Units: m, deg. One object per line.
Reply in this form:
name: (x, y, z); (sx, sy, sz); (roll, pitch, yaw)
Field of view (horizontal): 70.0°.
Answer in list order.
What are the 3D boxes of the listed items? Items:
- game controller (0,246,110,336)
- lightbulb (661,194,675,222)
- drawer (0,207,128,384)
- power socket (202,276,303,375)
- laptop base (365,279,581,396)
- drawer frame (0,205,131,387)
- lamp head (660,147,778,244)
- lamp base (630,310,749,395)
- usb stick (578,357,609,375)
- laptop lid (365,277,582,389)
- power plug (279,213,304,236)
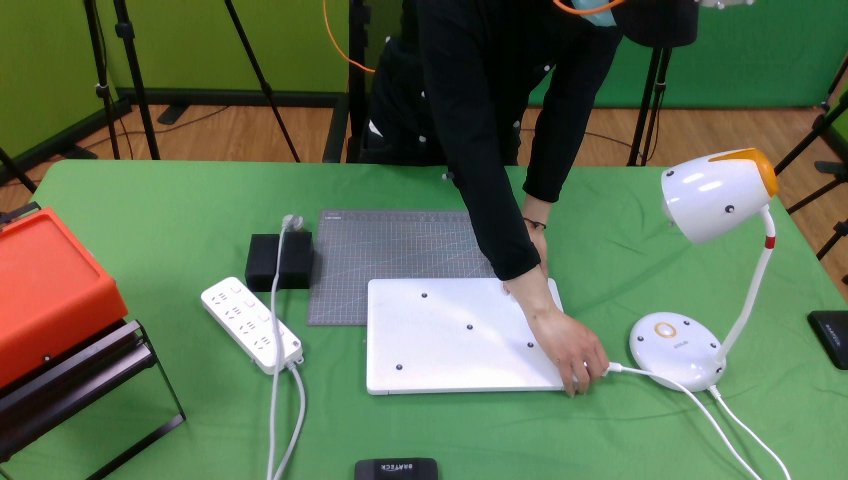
game controller: (-0.511, 0.063, 0.830); (0.097, 0.052, 0.154); (-30, 58, -32)
lightbulb: (0.369, -0.059, 0.807); (0.060, 0.107, 0.059); (18, 60, -35)
drawer: (-0.539, 0.074, 0.798); (0.193, 0.073, 0.211); (37, 55, 27)
power socket: (-0.296, 0.142, 1.033); (0.072, 0.033, 0.225); (-34, 58, -31)
laptop base: (0.077, 0.162, 1.053); (0.355, 0.023, 0.234); (0, 44, -4)
drawer frame: (-0.539, 0.076, 0.795); (0.200, 0.083, 0.213); (36, 54, 26)
lamp head: (0.389, -0.062, 0.784); (0.123, 0.113, 0.112); (-22, 32, 37)
lamp base: (0.447, 0.143, 0.984); (0.161, 0.181, 0.178); (-24, 55, -24)
usb stick: (0.276, 0.210, 1.010); (0.059, 0.027, 0.021); (3, 51, -1)
laptop lid: (0.077, 0.153, 1.046); (0.357, 0.013, 0.240); (1, 45, -3)
power plug: (-0.263, -0.021, 1.184); (0.035, 0.053, 0.072); (7, 50, 32)
